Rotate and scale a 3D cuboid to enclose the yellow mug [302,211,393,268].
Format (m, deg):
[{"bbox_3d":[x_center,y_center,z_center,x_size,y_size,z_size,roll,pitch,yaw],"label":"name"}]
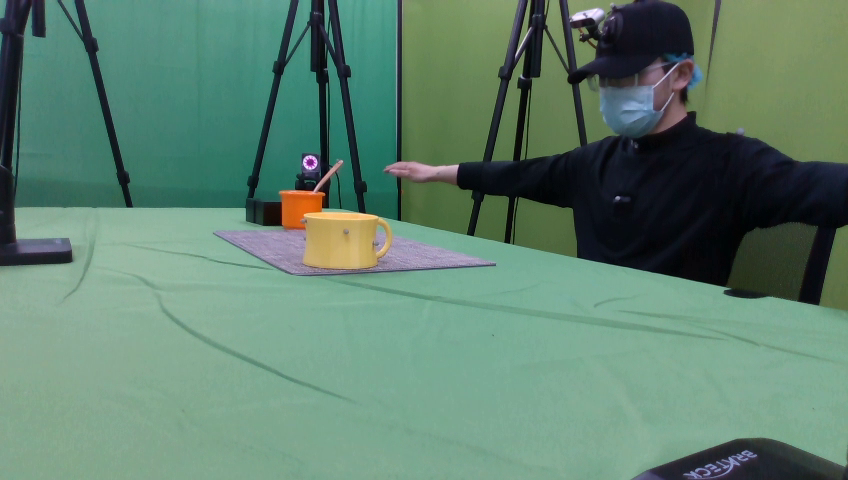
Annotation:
[{"bbox_3d":[-0.098,-0.003,0.810,0.131,0.064,0.099,-2,8,-37],"label":"yellow mug"}]

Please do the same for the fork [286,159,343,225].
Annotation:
[{"bbox_3d":[-0.222,-0.102,1.253,0.028,0.019,0.207,8,52,30],"label":"fork"}]
